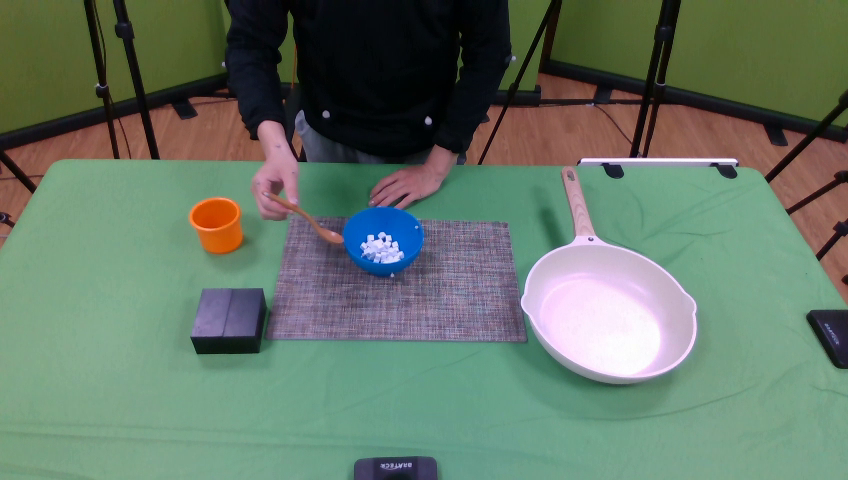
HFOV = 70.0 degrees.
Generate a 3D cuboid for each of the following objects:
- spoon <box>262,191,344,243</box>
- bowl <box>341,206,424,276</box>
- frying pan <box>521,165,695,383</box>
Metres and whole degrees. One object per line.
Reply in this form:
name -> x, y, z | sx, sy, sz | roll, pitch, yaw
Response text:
spoon -> -0.196, -0.038, 0.997 | 0.021, 0.195, 0.041 | -44, 51, 3
bowl -> -0.079, 0.014, 1.133 | 0.151, 0.077, 0.150 | 2, 46, -2
frying pan -> 0.312, 0.044, 1.123 | 0.307, 0.103, 0.484 | 1, 55, -5
